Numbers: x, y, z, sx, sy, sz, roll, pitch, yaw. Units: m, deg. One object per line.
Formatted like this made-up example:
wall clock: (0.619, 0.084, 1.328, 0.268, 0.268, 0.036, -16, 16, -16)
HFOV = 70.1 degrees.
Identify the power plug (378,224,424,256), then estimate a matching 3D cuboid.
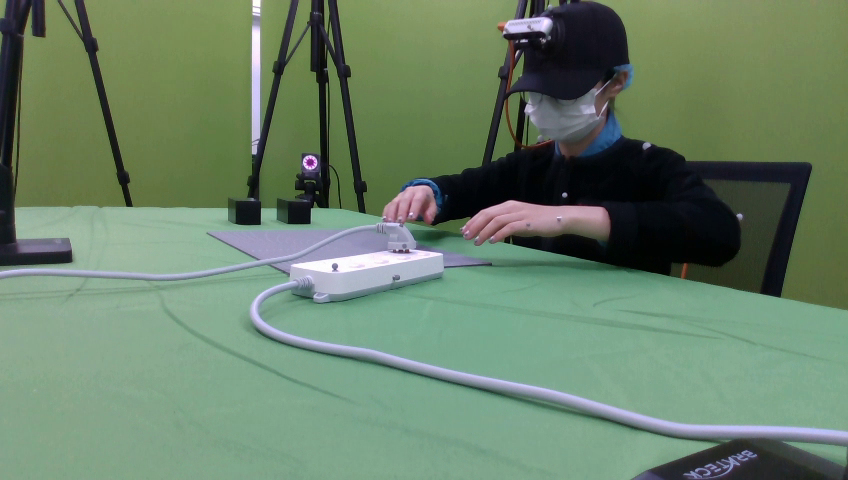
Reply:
power plug: (-0.025, 0.009, 0.729, 0.053, 0.035, 0.072, 5, 27, -23)

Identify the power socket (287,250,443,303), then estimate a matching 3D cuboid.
power socket: (-0.059, 0.035, 0.688, 0.072, 0.032, 0.228, 6, 8, 34)
